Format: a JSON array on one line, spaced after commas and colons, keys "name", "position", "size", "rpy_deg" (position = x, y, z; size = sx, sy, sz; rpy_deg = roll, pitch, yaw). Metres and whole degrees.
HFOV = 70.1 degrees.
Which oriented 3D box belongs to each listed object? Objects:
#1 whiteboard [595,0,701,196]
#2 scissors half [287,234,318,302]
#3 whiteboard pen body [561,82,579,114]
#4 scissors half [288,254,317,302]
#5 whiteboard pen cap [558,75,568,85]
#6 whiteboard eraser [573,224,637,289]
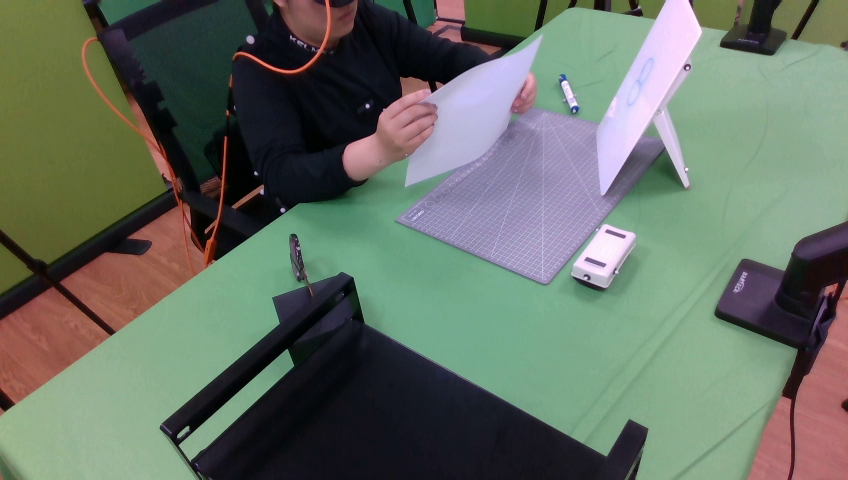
[{"name": "whiteboard", "position": [0.421, -0.227, 1.010], "size": [0.144, 0.305, 0.216], "rpy_deg": [18, 42, -2]}, {"name": "scissors half", "position": [-0.178, 0.040, 0.885], "size": [0.013, 0.040, 0.173], "rpy_deg": [-11, 37, -21]}, {"name": "whiteboard pen body", "position": [0.311, -0.311, 1.298], "size": [0.017, 0.017, 0.140], "rpy_deg": [-6, 41, 2]}, {"name": "scissors half", "position": [-0.178, 0.058, 0.894], "size": [0.013, 0.040, 0.174], "rpy_deg": [-15, 20, -18]}, {"name": "whiteboard pen cap", "position": [0.309, -0.350, 1.340], "size": [0.018, 0.018, 0.033], "rpy_deg": [-6, 41, 3]}, {"name": "whiteboard eraser", "position": [0.267, 0.025, 0.891], "size": [0.055, 0.042, 0.113], "rpy_deg": [19, 47, 31]}]
